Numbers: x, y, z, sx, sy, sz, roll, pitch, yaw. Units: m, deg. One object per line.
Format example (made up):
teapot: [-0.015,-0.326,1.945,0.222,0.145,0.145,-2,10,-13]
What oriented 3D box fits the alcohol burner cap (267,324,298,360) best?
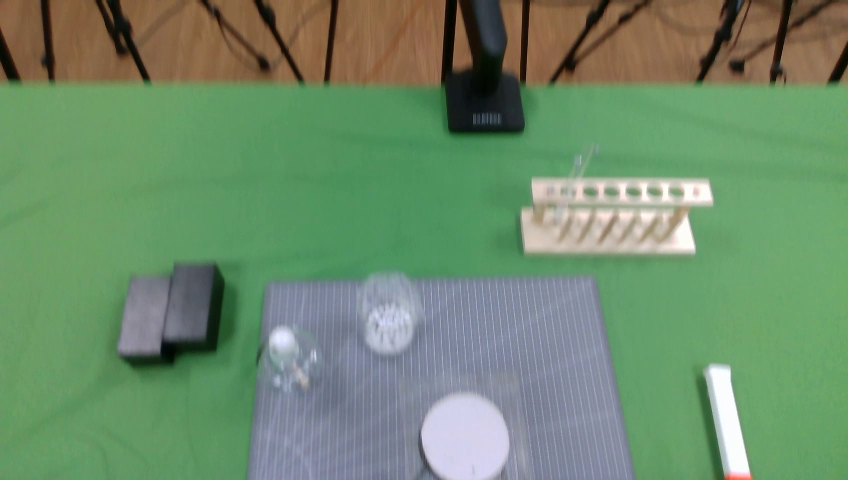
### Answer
alcohol burner cap: [-0.158,0.112,0.676,0.034,0.048,0.033,3,63,-6]

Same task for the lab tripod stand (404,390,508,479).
lab tripod stand: [0.033,0.221,0.658,0.148,0.132,0.147,1,60,-1]

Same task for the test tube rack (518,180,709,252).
test tube rack: [0.261,-0.032,0.841,0.242,0.086,0.066,0,61,-3]

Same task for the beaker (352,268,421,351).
beaker: [-0.044,0.091,0.744,0.084,0.101,0.073,21,62,7]

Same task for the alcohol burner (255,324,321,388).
alcohol burner: [-0.161,0.129,0.707,0.078,0.120,0.077,1,59,-2]

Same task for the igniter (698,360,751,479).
igniter: [0.365,0.277,0.712,0.057,0.025,0.274,7,61,-11]

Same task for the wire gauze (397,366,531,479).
wire gauze: [0.038,0.185,0.601,0.125,0.011,0.120,-2,60,-5]

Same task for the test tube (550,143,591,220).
test tube: [0.192,-0.074,0.802,0.017,0.151,0.017,3,56,-4]
